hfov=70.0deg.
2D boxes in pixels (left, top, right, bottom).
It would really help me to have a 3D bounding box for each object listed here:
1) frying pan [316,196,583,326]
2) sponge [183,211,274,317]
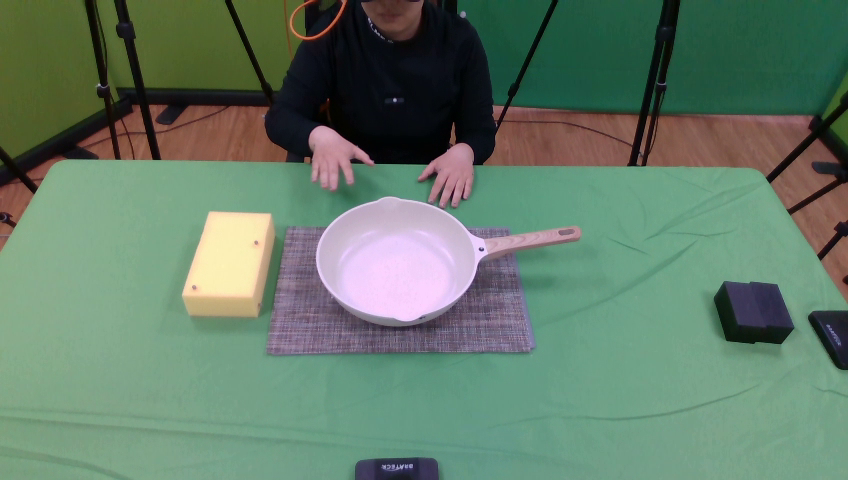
[{"bbox_3d":[0.054,0.027,1.114,0.488,0.103,0.304,-9,48,-1],"label":"frying pan"},{"bbox_3d":[-0.351,0.041,1.107,0.118,0.061,0.205,1,46,-3],"label":"sponge"}]
